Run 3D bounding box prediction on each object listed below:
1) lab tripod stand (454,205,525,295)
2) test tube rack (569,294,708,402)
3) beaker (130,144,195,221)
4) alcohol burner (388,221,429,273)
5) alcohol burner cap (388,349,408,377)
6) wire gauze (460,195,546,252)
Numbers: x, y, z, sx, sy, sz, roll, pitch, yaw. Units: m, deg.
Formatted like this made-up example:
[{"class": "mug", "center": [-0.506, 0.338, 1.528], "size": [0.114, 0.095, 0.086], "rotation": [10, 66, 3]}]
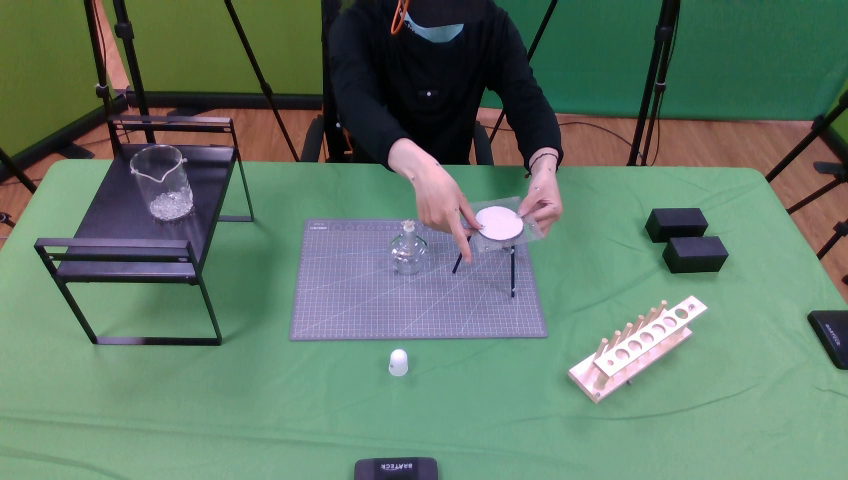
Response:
[{"class": "lab tripod stand", "center": [0.131, 0.010, 1.111], "size": [0.148, 0.132, 0.147], "rotation": [1, 45, -1]}, {"class": "test tube rack", "center": [0.360, 0.167, 1.014], "size": [0.242, 0.085, 0.066], "rotation": [-25, 53, -25]}, {"class": "beaker", "center": [-0.403, -0.085, 0.944], "size": [0.074, 0.101, 0.083], "rotation": [-15, 49, -17]}, {"class": "alcohol burner", "center": [-0.028, 0.006, 1.118], "size": [0.078, 0.119, 0.077], "rotation": [2, 49, -2]}, {"class": "alcohol burner cap", "center": [-0.042, 0.197, 0.989], "size": [0.034, 0.048, 0.033], "rotation": [3, 46, -2]}, {"class": "wire gauze", "center": [0.136, -0.034, 1.061], "size": [0.121, 0.011, 0.124], "rotation": [-9, 46, -12]}]
